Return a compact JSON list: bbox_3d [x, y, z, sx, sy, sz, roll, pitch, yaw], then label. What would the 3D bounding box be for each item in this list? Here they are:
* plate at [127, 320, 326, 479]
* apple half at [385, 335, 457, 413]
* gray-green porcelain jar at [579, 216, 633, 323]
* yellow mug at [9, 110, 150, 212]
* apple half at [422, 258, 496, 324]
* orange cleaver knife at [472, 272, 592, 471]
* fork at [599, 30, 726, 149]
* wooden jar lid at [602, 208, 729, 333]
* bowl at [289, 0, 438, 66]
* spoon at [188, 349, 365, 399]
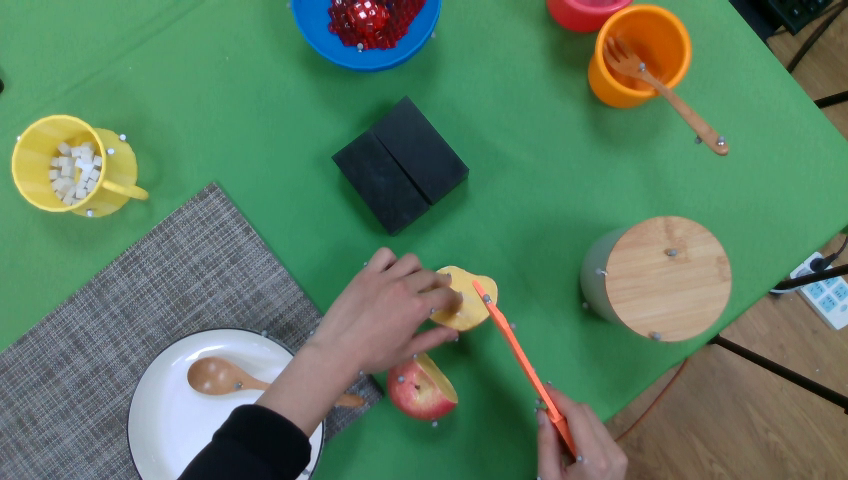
[{"bbox_3d":[-0.206,0.188,0.645,0.209,0.038,0.209,0,90,2],"label":"plate"},{"bbox_3d":[-0.010,0.144,0.624,0.053,0.074,0.081,-42,91,5],"label":"apple half"},{"bbox_3d":[0.212,0.029,0.590,0.106,0.126,0.105,0,89,3],"label":"gray-green porcelain jar"},{"bbox_3d":[-0.355,-0.076,0.643,0.131,0.064,0.100,22,90,1],"label":"yellow mug"},{"bbox_3d":[0.035,0.059,0.631,0.081,0.033,0.080,-3,52,4],"label":"apple half"},{"bbox_3d":[0.098,0.120,0.551,0.012,0.076,0.213,-30,109,0],"label":"orange cleaver knife"},{"bbox_3d":[0.224,-0.149,0.579,0.028,0.019,0.205,-23,45,2],"label":"fork"},{"bbox_3d":[0.208,0.027,0.528,0.108,0.020,0.108,0,91,1],"label":"wooden jar lid"},{"bbox_3d":[-0.057,-0.246,0.627,0.151,0.077,0.151,0,90,2],"label":"bowl"},{"bbox_3d":[-0.155,0.146,0.630,0.193,0.022,0.041,7,84,14],"label":"spoon"}]
